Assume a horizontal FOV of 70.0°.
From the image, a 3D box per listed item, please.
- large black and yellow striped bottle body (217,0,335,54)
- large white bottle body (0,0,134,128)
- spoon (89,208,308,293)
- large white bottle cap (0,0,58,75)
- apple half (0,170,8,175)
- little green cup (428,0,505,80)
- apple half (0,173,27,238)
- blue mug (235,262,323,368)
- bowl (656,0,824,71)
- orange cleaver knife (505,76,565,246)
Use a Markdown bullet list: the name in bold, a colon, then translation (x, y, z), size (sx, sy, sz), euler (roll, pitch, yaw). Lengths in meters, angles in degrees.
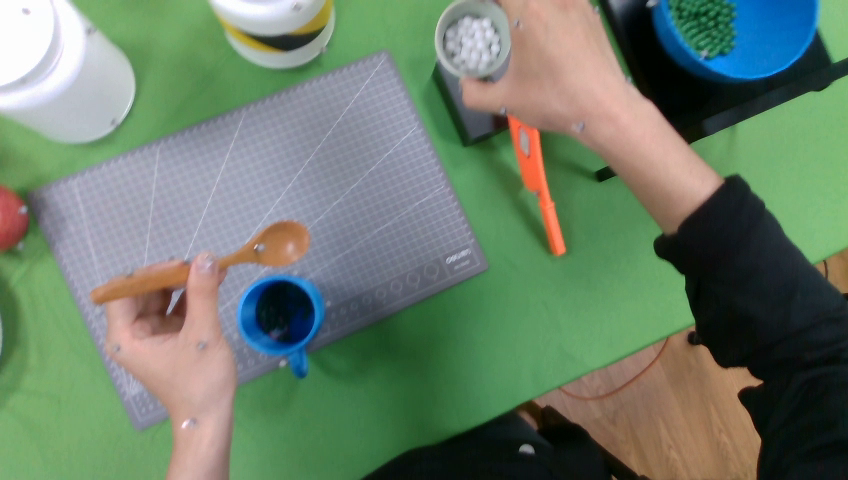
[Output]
- **large black and yellow striped bottle body**: translation (-0.162, -0.287, 0.635), size (0.131, 0.184, 0.130), euler (0, 87, -6)
- **large white bottle body**: translation (-0.387, -0.195, 0.603), size (0.131, 0.184, 0.130), euler (0, 87, -7)
- **spoon**: translation (-0.155, 0.008, 0.453), size (0.021, 0.194, 0.042), euler (16, 109, 23)
- **large white bottle cap**: translation (-0.378, -0.199, 0.519), size (0.115, 0.018, 0.114), euler (0, 88, -7)
- **apple half**: translation (-0.486, -0.058, 0.641), size (0.081, 0.081, 0.033), euler (-39, 97, -7)
- **little green cup**: translation (0.034, -0.160, 0.494), size (0.061, 0.038, 0.061), euler (0, 95, -1)
- **apple half**: translation (-0.462, -0.028, 0.645), size (0.081, 0.074, 0.053), euler (-39, 97, -10)
- **blue mug**: translation (-0.150, 0.082, 0.662), size (0.082, 0.106, 0.116), euler (-16, 90, -7)
- **bowl**: translation (0.275, -0.222, 0.562), size (0.152, 0.077, 0.151), euler (0, 88, -7)
- **orange cleaver knife**: translation (0.130, -0.089, 0.714), size (0.012, 0.076, 0.213), euler (-25, 122, -8)
